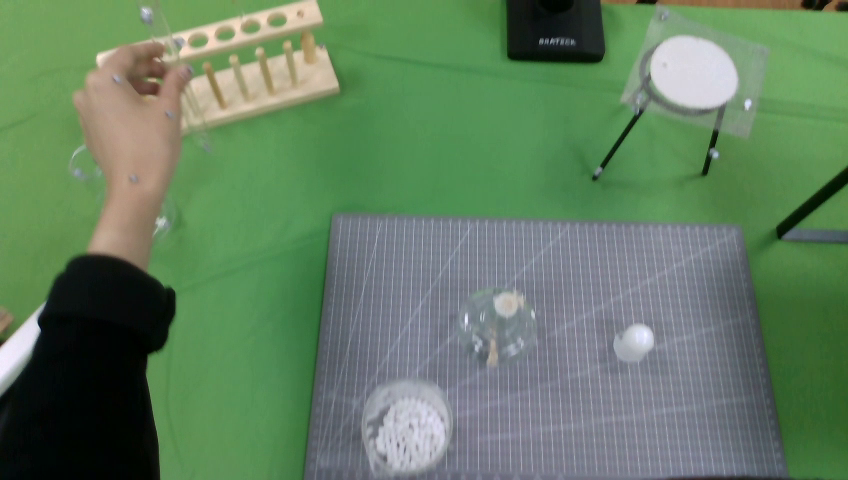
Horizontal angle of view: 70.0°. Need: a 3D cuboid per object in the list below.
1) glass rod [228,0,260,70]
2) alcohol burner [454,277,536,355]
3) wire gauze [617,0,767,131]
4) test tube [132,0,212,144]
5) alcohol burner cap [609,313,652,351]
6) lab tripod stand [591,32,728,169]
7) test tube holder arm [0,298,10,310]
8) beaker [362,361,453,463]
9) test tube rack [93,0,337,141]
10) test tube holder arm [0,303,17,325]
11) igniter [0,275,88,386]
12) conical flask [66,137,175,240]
[{"bbox_3d":[-0.205,-0.253,0.644,0.008,0.201,0.008,-2,60,5],"label":"glass rod"},{"bbox_3d":[0.068,0.066,0.566,0.078,0.120,0.077,1,66,-2],"label":"alcohol burner"},{"bbox_3d":[0.263,-0.170,0.587,0.121,0.011,0.124,22,69,7],"label":"wire gauze"},{"bbox_3d":[-0.200,-0.132,0.492,0.017,0.151,0.017,0,57,0],"label":"test tube"},{"bbox_3d":[0.206,0.088,0.597,0.034,0.048,0.033,0,67,-1],"label":"alcohol burner cap"},{"bbox_3d":[0.255,-0.142,0.648,0.148,0.132,0.147,1,66,-2],"label":"lab tripod stand"},{"bbox_3d":[-0.440,0.122,0.533,0.013,0.015,0.178,45,71,-15],"label":"test tube holder arm"},{"bbox_3d":[-0.015,0.159,0.533,0.073,0.101,0.083,30,70,13],"label":"beaker"},{"bbox_3d":[-0.229,-0.195,0.691,0.242,0.086,0.066,-18,68,-8],"label":"test tube rack"},{"bbox_3d":[-0.408,0.093,0.549,0.010,0.015,0.087,45,71,-15],"label":"test tube holder arm"},{"bbox_3d":[-0.407,0.145,0.524,0.057,0.025,0.276,29,68,21],"label":"igniter"},{"bbox_3d":[-0.309,-0.055,0.610,0.075,0.123,0.075,0,66,0],"label":"conical flask"}]
